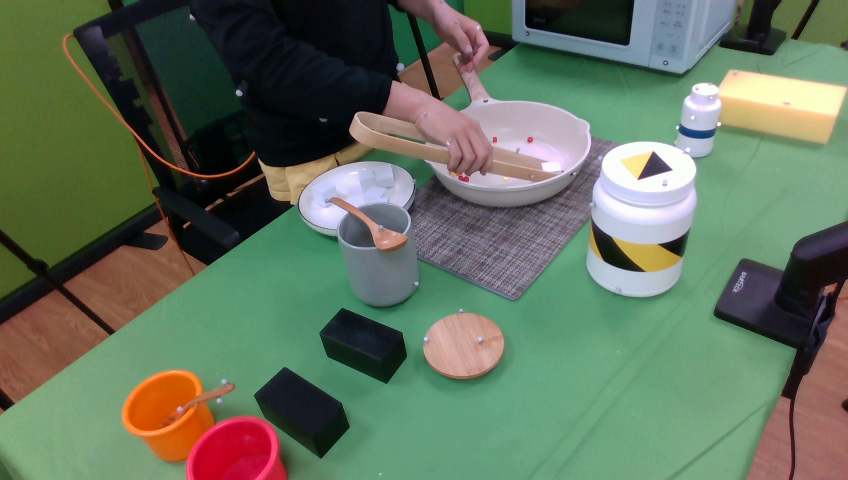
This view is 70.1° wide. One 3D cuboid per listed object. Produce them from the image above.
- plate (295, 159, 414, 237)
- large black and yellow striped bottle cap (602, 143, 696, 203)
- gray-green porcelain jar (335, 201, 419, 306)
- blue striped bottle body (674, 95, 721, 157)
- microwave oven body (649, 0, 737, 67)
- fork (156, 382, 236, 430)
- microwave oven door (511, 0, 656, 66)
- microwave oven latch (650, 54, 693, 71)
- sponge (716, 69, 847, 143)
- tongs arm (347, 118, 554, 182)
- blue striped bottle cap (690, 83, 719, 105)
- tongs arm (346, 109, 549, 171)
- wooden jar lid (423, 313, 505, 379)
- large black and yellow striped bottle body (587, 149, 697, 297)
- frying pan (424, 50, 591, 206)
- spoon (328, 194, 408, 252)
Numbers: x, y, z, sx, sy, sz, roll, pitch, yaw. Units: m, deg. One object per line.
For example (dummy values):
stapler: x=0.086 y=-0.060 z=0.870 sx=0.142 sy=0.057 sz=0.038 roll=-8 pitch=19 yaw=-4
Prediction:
plate: x=-0.118 y=-0.070 z=1.055 sx=0.207 sy=0.039 sz=0.206 roll=-5 pitch=40 yaw=4
large black and yellow striped bottle cap: x=0.289 y=-0.088 z=0.779 sx=0.115 sy=0.019 sz=0.114 roll=-5 pitch=39 yaw=4
gray-green porcelain jar: x=-0.064 y=0.024 z=0.872 sx=0.106 sy=0.127 sz=0.105 roll=-4 pitch=41 yaw=4
blue striped bottle body: x=0.486 y=-0.213 z=1.072 sx=0.063 sy=0.121 sz=0.063 roll=-4 pitch=41 yaw=4
microwave oven body: x=0.475 y=-0.602 z=1.411 sx=0.438 sy=0.261 sz=0.327 roll=23 pitch=50 yaw=32
fork: x=-0.262 y=0.189 z=0.690 sx=0.018 sy=0.206 sz=0.028 roll=49 pitch=43 yaw=-7
microwave oven door: x=0.350 y=-0.539 z=1.349 sx=0.353 sy=0.245 sz=0.039 roll=24 pitch=50 yaw=31
microwave oven latch: x=0.531 y=-0.386 z=1.301 sx=0.078 sy=0.029 sz=0.030 roll=26 pitch=51 yaw=33
sponge: x=0.663 y=-0.256 z=1.142 sx=0.205 sy=0.061 sz=0.118 roll=19 pitch=47 yaw=28
tongs arm: x=0.065 y=-0.129 z=0.948 sx=0.391 sy=0.027 sz=0.028 roll=9 pitch=43 yaw=-30
blue striped bottle cap: x=0.481 y=-0.251 z=1.038 sx=0.044 sy=0.021 sz=0.044 roll=-5 pitch=40 yaw=5
tongs arm: x=0.055 y=-0.150 z=0.968 sx=0.388 sy=0.026 sz=0.050 roll=11 pitch=39 yaw=-29
wooden jar lid: x=0.053 y=0.142 z=0.800 sx=0.108 sy=0.021 sz=0.108 roll=-5 pitch=39 yaw=4
large black and yellow striped bottle body: x=0.298 y=-0.026 z=0.835 sx=0.131 sy=0.185 sz=0.130 roll=-4 pitch=41 yaw=4
frying pan: x=0.127 y=-0.233 z=1.155 sx=0.307 sy=0.103 sz=0.484 roll=-11 pitch=49 yaw=-5
spoon: x=-0.083 y=-0.030 z=0.829 sx=0.042 sy=0.022 sz=0.192 roll=-35 pitch=44 yaw=-19
